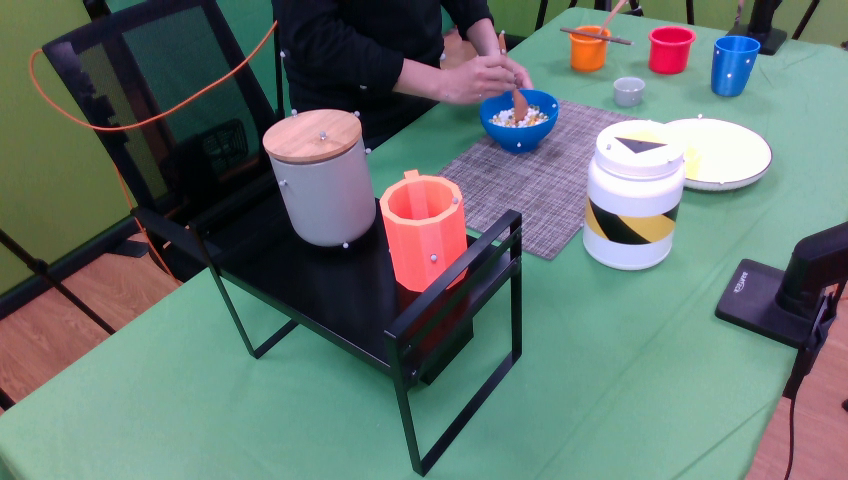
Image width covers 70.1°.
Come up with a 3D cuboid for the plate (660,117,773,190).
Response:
[{"bbox_3d":[0.495,-0.148,1.063,0.209,0.038,0.208,-5,40,4],"label":"plate"}]

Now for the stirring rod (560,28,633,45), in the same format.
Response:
[{"bbox_3d":[0.381,-0.452,1.345,0.174,0.006,0.014,26,49,33],"label":"stirring rod"}]

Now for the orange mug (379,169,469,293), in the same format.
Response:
[{"bbox_3d":[-0.002,-0.019,0.665,0.083,0.101,0.125,-12,45,-4],"label":"orange mug"}]

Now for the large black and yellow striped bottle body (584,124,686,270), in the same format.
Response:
[{"bbox_3d":[0.304,-0.063,0.880,0.131,0.185,0.130,-5,41,5],"label":"large black and yellow striped bottle body"}]

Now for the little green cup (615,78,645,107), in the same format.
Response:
[{"bbox_3d":[0.426,-0.306,1.257,0.061,0.039,0.061,-5,40,4],"label":"little green cup"}]

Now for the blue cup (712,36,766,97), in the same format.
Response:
[{"bbox_3d":[0.627,-0.350,1.227,0.092,0.100,0.092,-4,39,4],"label":"blue cup"}]

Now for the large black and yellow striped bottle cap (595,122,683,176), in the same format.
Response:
[{"bbox_3d":[0.293,-0.126,0.826,0.115,0.019,0.114,-3,40,3],"label":"large black and yellow striped bottle cap"}]

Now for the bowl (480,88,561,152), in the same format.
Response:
[{"bbox_3d":[0.185,-0.222,1.160,0.151,0.077,0.150,-4,40,4],"label":"bowl"}]

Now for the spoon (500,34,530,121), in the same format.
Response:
[{"bbox_3d":[0.166,-0.298,1.123,0.021,0.195,0.041,21,64,40],"label":"spoon"}]

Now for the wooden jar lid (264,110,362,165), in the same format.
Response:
[{"bbox_3d":[-0.122,-0.112,0.673,0.108,0.021,0.108,-4,37,4],"label":"wooden jar lid"}]

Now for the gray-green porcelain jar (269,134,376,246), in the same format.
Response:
[{"bbox_3d":[-0.115,-0.064,0.715,0.106,0.127,0.105,-4,40,4],"label":"gray-green porcelain jar"}]

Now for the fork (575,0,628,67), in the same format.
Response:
[{"bbox_3d":[0.413,-0.481,1.377,0.207,0.019,0.028,-56,43,12],"label":"fork"}]
